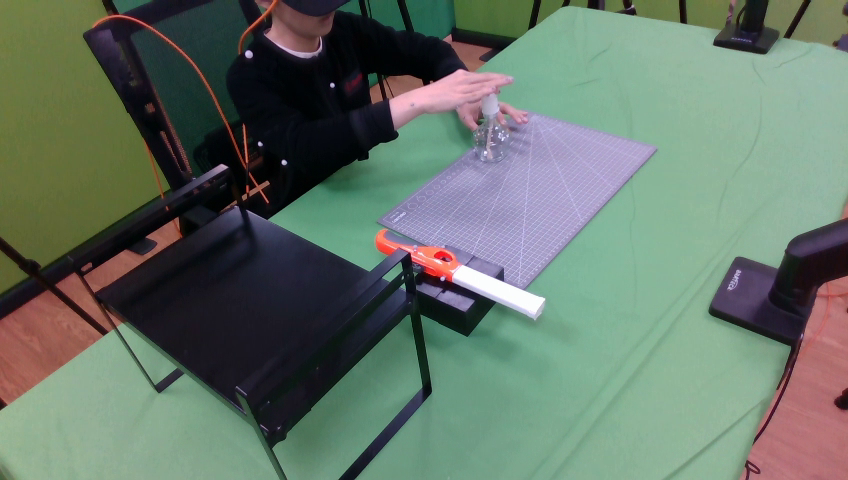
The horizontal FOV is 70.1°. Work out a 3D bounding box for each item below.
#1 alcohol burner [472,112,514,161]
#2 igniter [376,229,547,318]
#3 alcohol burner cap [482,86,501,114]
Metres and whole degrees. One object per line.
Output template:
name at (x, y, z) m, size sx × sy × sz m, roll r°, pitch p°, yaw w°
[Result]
alcohol burner at (0.127, -0.208, 1.123) m, size 0.078 × 0.119 × 0.077 m, roll -5°, pitch 39°, yaw 5°
igniter at (0.040, 0.041, 0.845) m, size 0.274 × 0.025 × 0.057 m, roll 22°, pitch 46°, yaw 27°
alcohol burner cap at (0.120, -0.253, 1.079) m, size 0.034 × 0.048 × 0.033 m, roll -8°, pitch 45°, yaw 8°
